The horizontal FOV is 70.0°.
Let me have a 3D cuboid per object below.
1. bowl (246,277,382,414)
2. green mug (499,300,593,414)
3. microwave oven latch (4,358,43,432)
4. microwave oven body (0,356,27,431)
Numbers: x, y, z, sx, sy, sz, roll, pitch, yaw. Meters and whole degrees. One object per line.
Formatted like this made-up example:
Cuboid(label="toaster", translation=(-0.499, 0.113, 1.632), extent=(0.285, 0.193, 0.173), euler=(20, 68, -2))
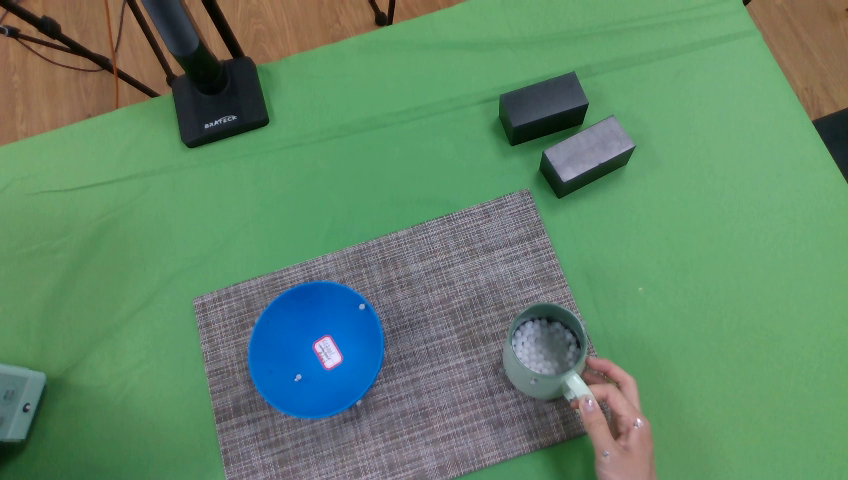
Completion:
Cuboid(label="bowl", translation=(-0.117, 0.125, 0.693), extent=(0.151, 0.077, 0.150), euler=(-1, 72, 5))
Cuboid(label="green mug", translation=(0.137, 0.130, 0.652), extent=(0.092, 0.106, 0.124), euler=(-33, 68, -7))
Cuboid(label="microwave oven latch", translation=(-0.478, 0.182, 0.710), extent=(0.030, 0.030, 0.079), euler=(11, 74, 8))
Cuboid(label="microwave oven body", translation=(-0.665, 0.294, 0.586), extent=(0.325, 0.262, 0.439), euler=(9, 73, 7))
